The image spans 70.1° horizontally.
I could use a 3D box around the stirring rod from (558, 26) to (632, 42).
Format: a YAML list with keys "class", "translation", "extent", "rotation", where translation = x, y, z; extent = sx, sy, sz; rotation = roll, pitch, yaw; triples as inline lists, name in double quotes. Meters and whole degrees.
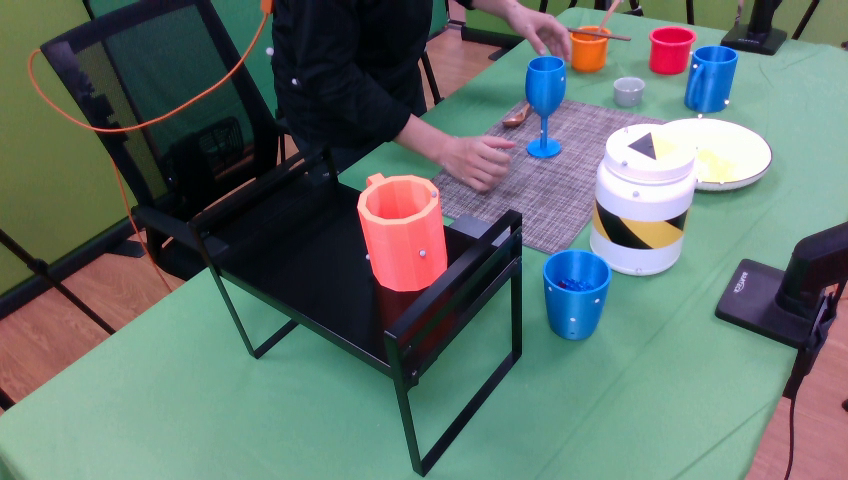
- class: "stirring rod"
  translation: [0.381, -0.462, 1.356]
  extent: [0.175, 0.006, 0.014]
  rotation: [22, 48, 30]

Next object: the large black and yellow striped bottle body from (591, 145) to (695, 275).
- class: "large black and yellow striped bottle body"
  translation: [0.313, -0.056, 0.870]
  extent: [0.131, 0.185, 0.130]
  rotation: [-4, 40, 4]

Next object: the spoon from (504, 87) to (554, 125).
- class: "spoon"
  translation: [0.227, -0.284, 1.269]
  extent: [0.041, 0.022, 0.194]
  rotation: [2, 36, 44]

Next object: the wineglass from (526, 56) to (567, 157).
- class: "wineglass"
  translation: [0.222, -0.241, 1.102]
  extent: [0.074, 0.173, 0.073]
  rotation: [-5, 41, 5]

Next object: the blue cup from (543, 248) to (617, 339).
- class: "blue cup"
  translation: [0.199, 0.076, 0.797]
  extent: [0.092, 0.100, 0.092]
  rotation: [-4, 39, 4]

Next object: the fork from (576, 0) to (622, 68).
- class: "fork"
  translation: [0.409, -0.484, 1.381]
  extent: [0.028, 0.019, 0.207]
  rotation: [37, 101, 46]

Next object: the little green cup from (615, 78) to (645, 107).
- class: "little green cup"
  translation: [0.426, -0.306, 1.257]
  extent: [0.061, 0.039, 0.061]
  rotation: [-4, 40, 4]

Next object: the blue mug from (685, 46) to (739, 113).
- class: "blue mug"
  translation: [0.556, -0.310, 1.190]
  extent: [0.117, 0.106, 0.081]
  rotation: [-32, 46, -25]

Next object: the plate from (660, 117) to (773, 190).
- class: "plate"
  translation: [0.495, -0.148, 1.063]
  extent: [0.209, 0.038, 0.208]
  rotation: [-5, 40, 4]

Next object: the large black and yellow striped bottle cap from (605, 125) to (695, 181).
- class: "large black and yellow striped bottle cap"
  translation: [0.304, -0.120, 0.817]
  extent: [0.115, 0.019, 0.114]
  rotation: [-3, 41, 3]

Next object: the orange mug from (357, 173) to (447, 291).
- class: "orange mug"
  translation: [-0.030, -0.018, 0.669]
  extent: [0.084, 0.101, 0.125]
  rotation: [-23, 46, -16]
